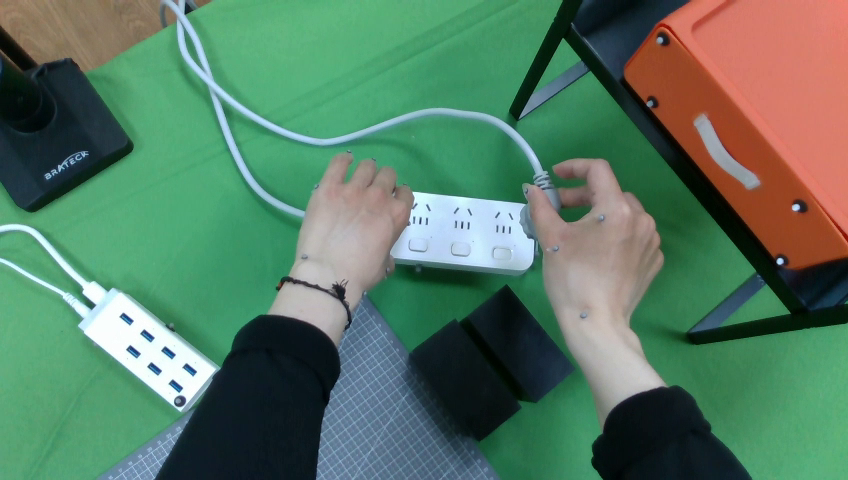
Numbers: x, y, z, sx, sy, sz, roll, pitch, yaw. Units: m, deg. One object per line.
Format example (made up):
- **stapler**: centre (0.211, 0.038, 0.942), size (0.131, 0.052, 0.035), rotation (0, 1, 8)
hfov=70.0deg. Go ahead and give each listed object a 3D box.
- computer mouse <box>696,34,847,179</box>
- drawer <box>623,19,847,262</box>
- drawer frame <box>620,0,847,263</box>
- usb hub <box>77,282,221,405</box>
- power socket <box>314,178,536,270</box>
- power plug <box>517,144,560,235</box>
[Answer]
- **computer mouse**: centre (0.267, -0.105, 0.461), size (0.063, 0.041, 0.117), rotation (-40, 83, -8)
- **drawer**: centre (0.292, -0.122, 0.453), size (0.212, 0.073, 0.194), rotation (-36, 83, -12)
- **drawer frame**: centre (0.295, -0.126, 0.453), size (0.213, 0.083, 0.201), rotation (-37, 84, -12)
- **usb hub**: centre (-0.255, 0.096, 0.563), size (0.125, 0.025, 0.049), rotation (38, 78, 3)
- **power socket**: centre (0.005, -0.016, 0.609), size (0.227, 0.032, 0.072), rotation (6, 77, -4)
- **power plug**: centre (0.100, -0.040, 0.531), size (0.035, 0.052, 0.072), rotation (7, 74, -19)
